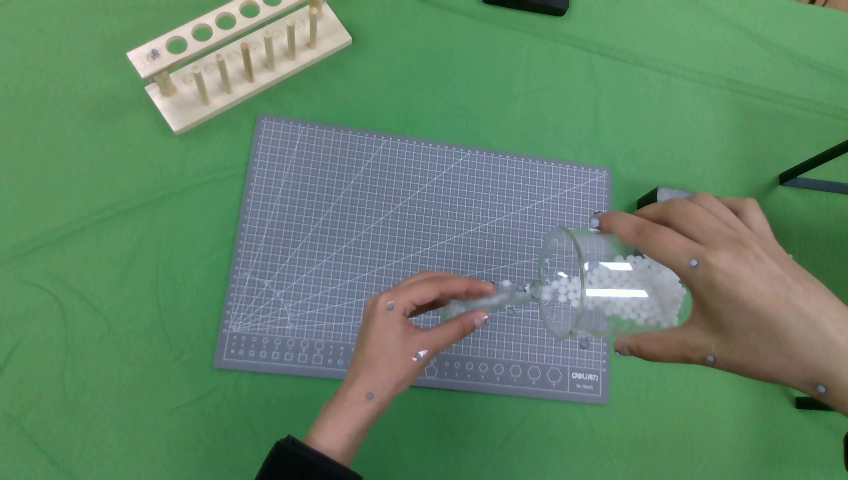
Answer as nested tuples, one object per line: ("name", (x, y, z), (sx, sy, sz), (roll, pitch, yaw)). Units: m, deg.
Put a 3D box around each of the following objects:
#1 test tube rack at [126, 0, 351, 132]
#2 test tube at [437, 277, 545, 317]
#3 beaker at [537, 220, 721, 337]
("test tube rack", (-0.201, -0.225, 0.697), (0.242, 0.085, 0.066), (-34, 83, -16))
("test tube", (0.049, 0.049, 0.497), (0.017, 0.150, 0.017), (6, 75, -25))
("beaker", (0.133, 0.028, 0.404), (0.100, 0.084, 0.073), (2, 80, -11))
